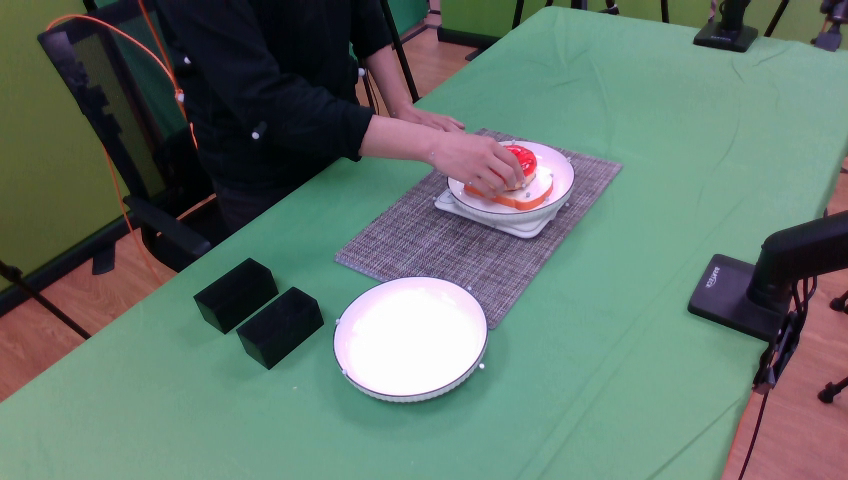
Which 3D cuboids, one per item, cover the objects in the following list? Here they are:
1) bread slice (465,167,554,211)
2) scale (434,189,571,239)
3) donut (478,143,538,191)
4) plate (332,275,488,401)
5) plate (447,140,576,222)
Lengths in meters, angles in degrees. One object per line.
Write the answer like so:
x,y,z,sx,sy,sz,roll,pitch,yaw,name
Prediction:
0.149,-0.095,0.999,0.130,0.019,0.105,25,52,33,bread slice
0.132,-0.075,1.025,0.199,0.032,0.149,22,48,30,scale
0.136,-0.120,0.983,0.099,0.048,0.098,-8,42,8,donut
-0.017,0.131,0.808,0.207,0.039,0.206,-4,41,4,plate
0.143,-0.094,0.995,0.209,0.038,0.208,-4,41,4,plate
